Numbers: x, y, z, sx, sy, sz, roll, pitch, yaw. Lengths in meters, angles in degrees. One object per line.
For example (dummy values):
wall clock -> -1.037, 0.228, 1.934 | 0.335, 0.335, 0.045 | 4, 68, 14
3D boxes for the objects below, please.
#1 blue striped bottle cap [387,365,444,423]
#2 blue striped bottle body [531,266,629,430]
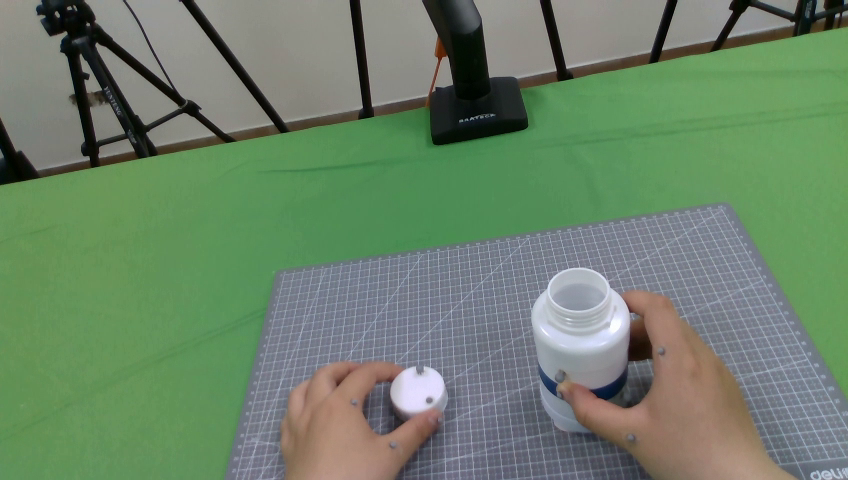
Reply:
blue striped bottle cap -> -0.007, 0.120, 0.473 | 0.044, 0.021, 0.044 | -1, 36, 1
blue striped bottle body -> 0.107, 0.072, 0.414 | 0.063, 0.122, 0.062 | -8, 42, 7
